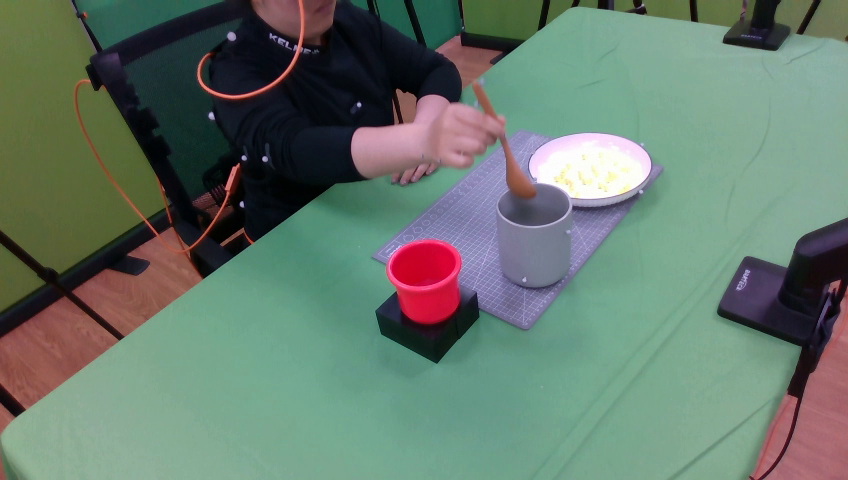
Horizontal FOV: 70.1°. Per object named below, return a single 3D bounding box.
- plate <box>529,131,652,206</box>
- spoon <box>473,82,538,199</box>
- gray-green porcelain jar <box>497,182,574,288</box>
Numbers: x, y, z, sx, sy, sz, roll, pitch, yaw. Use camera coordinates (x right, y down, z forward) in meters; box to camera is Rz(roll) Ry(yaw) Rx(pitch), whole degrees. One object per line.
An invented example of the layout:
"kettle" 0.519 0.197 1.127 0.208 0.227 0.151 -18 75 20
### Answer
"plate" 0.287 -0.122 1.056 0.207 0.039 0.206 -5 40 5
"spoon" 0.103 -0.123 0.782 0.041 0.195 0.021 7 48 42
"gray-green porcelain jar" 0.160 -0.003 0.869 0.106 0.127 0.105 -5 40 5
